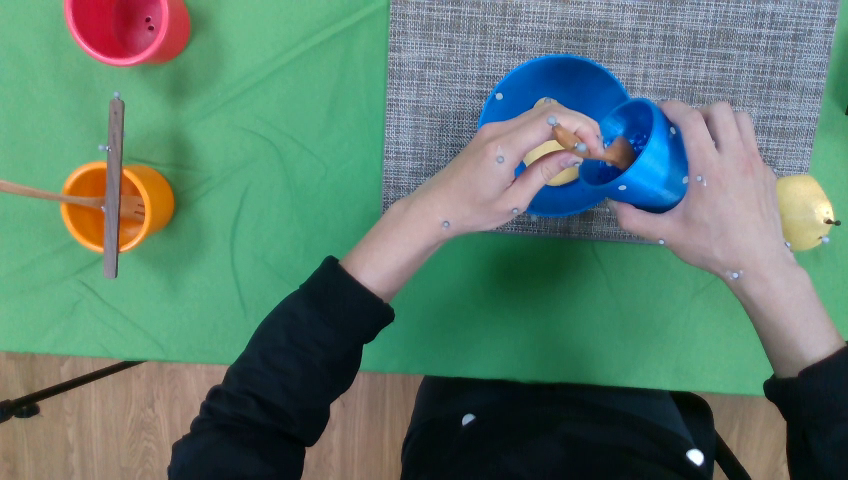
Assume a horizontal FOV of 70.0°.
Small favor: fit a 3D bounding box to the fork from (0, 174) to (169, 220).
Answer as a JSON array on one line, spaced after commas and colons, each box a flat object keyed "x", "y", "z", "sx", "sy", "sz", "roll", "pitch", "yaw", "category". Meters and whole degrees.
[{"x": -0.353, "y": -0.048, "z": 0.588, "sx": 0.209, "sy": 0.018, "sz": 0.028, "roll": 12, "pitch": 116, "yaw": -46, "category": "fork"}]

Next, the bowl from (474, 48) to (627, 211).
[{"x": 0.123, "y": -0.108, "z": 0.599, "sx": 0.151, "sy": 0.076, "sz": 0.152, "roll": 0, "pitch": 102, "yaw": 1, "category": "bowl"}]

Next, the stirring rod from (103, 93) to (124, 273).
[{"x": -0.300, "y": -0.052, "z": 0.584, "sx": 0.014, "sy": 0.006, "sz": 0.176, "roll": 8, "pitch": 103, "yaw": -4, "category": "stirring rod"}]

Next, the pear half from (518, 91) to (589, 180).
[{"x": 0.129, "y": -0.104, "z": 0.593, "sx": 0.070, "sy": 0.031, "sz": 0.088, "roll": -17, "pitch": 96, "yaw": -1, "category": "pear half"}]

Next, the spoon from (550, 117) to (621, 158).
[{"x": 0.132, "y": -0.073, "z": 0.463, "sx": 0.021, "sy": 0.195, "sz": 0.041, "roll": -18, "pitch": 83, "yaw": 34, "category": "spoon"}]

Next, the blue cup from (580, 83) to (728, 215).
[{"x": 0.201, "y": -0.067, "z": 0.519, "sx": 0.101, "sy": 0.092, "sz": 0.093, "roll": 22, "pitch": 102, "yaw": -17, "category": "blue cup"}]

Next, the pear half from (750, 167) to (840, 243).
[{"x": 0.363, "y": -0.030, "z": 0.597, "sx": 0.056, "sy": 0.109, "sz": 0.076, "roll": -15, "pitch": 98, "yaw": 5, "category": "pear half"}]
